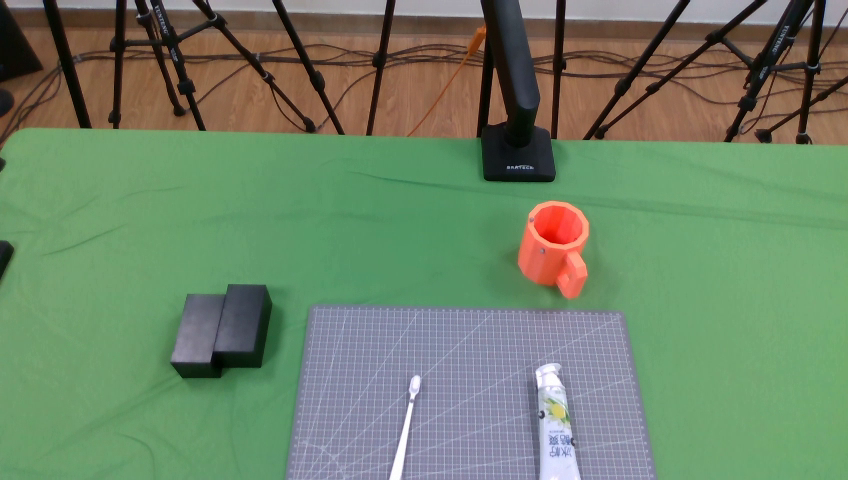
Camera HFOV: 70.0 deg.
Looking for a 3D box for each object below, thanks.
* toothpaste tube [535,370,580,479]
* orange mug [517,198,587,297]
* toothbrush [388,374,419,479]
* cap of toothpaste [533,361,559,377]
[{"bbox_3d":[0.161,0.242,0.755,0.055,0.035,0.163,-4,59,4],"label":"toothpaste tube"},{"bbox_3d":[0.191,0.015,0.873,0.083,0.102,0.125,-17,53,-13],"label":"orange mug"},{"bbox_3d":[-0.028,0.250,0.748,0.014,0.017,0.180,17,57,-7],"label":"toothbrush"},{"bbox_3d":[0.161,0.171,0.796,0.037,0.037,0.011,-9,53,-9],"label":"cap of toothpaste"}]
